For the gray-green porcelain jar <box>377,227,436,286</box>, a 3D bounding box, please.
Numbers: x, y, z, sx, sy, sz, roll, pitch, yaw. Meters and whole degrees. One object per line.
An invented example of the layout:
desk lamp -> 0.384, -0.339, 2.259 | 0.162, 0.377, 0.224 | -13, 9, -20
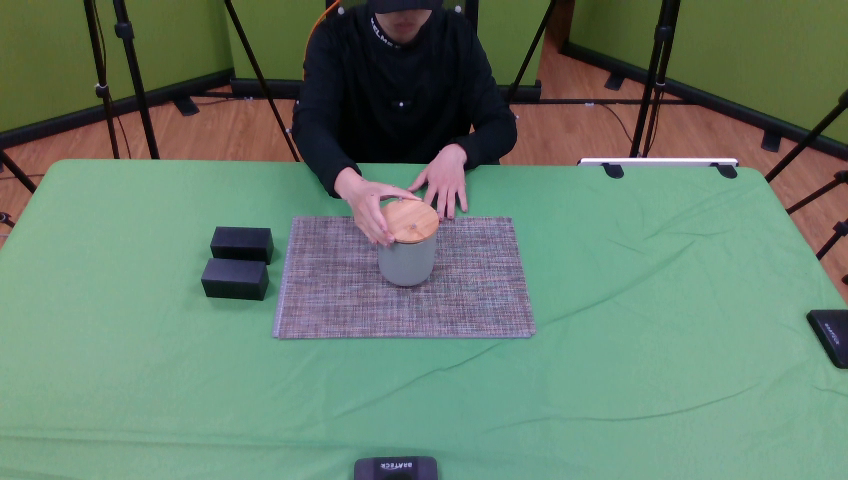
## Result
gray-green porcelain jar -> -0.033, 0.014, 1.106 | 0.106, 0.127, 0.105 | 2, 46, -2

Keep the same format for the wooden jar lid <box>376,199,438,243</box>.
wooden jar lid -> -0.029, -0.030, 1.058 | 0.108, 0.021, 0.107 | 2, 44, -2
